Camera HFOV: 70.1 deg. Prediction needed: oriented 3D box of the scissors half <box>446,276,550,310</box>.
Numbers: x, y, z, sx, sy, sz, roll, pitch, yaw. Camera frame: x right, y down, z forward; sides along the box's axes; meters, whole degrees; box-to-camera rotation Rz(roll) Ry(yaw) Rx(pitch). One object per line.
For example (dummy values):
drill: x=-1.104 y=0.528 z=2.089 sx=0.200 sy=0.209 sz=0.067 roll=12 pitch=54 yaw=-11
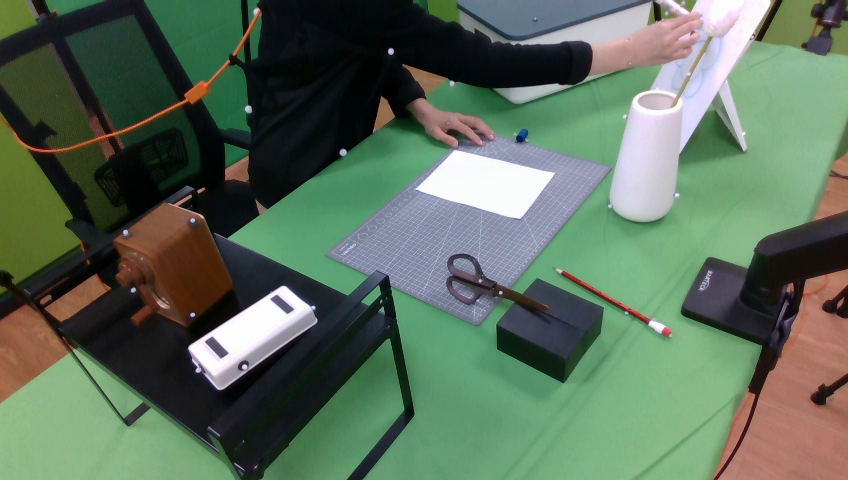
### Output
scissors half: x=0.098 y=0.077 z=0.827 sx=0.174 sy=0.040 sz=0.013 roll=6 pitch=14 yaw=44

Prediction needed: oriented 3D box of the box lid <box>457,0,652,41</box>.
box lid: x=0.285 y=-0.522 z=1.323 sx=0.373 sy=0.015 sz=0.261 roll=-22 pitch=43 yaw=-16

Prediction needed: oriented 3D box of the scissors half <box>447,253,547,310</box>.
scissors half: x=0.098 y=0.058 z=0.821 sx=0.173 sy=0.040 sz=0.013 roll=27 pitch=33 yaw=36

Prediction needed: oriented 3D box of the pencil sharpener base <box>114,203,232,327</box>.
pencil sharpener base: x=-0.261 y=0.029 z=0.635 sx=0.061 sy=0.107 sz=0.077 roll=18 pitch=47 yaw=27

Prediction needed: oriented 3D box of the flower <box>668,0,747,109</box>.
flower: x=0.355 y=-0.187 z=0.880 sx=0.038 sy=0.362 sz=0.044 roll=31 pitch=48 yaw=15

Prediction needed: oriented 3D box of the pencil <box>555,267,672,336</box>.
pencil: x=0.261 y=0.082 z=0.851 sx=0.012 sy=0.012 sz=0.192 roll=-33 pitch=45 yaw=-27

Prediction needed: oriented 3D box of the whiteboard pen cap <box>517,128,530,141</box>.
whiteboard pen cap: x=0.195 y=-0.207 z=1.192 sx=0.018 sy=0.018 sz=0.033 roll=14 pitch=41 yaw=23

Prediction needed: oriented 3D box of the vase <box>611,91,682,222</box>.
vase: x=0.348 y=-0.125 z=0.936 sx=0.098 sy=0.201 sz=0.097 roll=-3 pitch=40 yaw=3

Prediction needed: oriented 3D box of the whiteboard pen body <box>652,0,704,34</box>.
whiteboard pen body: x=0.430 y=-0.374 z=1.007 sx=0.142 sy=0.017 sz=0.017 roll=19 pitch=32 yaw=-27

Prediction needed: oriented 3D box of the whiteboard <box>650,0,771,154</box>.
whiteboard: x=0.543 y=-0.298 z=1.076 sx=0.144 sy=0.305 sz=0.216 roll=12 pitch=40 yaw=-7

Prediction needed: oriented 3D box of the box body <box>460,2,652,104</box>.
box body: x=0.291 y=-0.465 z=1.371 sx=0.365 sy=0.161 sz=0.252 roll=-22 pitch=42 yaw=-16

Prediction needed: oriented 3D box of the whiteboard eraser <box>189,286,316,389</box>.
whiteboard eraser: x=-0.166 y=0.096 z=0.593 sx=0.113 sy=0.042 sz=0.055 roll=-36 pitch=46 yaw=-29

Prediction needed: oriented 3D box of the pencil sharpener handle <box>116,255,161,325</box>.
pencil sharpener handle: x=-0.286 y=0.050 z=0.594 sx=0.035 sy=0.068 sz=0.031 roll=7 pitch=41 yaw=36
